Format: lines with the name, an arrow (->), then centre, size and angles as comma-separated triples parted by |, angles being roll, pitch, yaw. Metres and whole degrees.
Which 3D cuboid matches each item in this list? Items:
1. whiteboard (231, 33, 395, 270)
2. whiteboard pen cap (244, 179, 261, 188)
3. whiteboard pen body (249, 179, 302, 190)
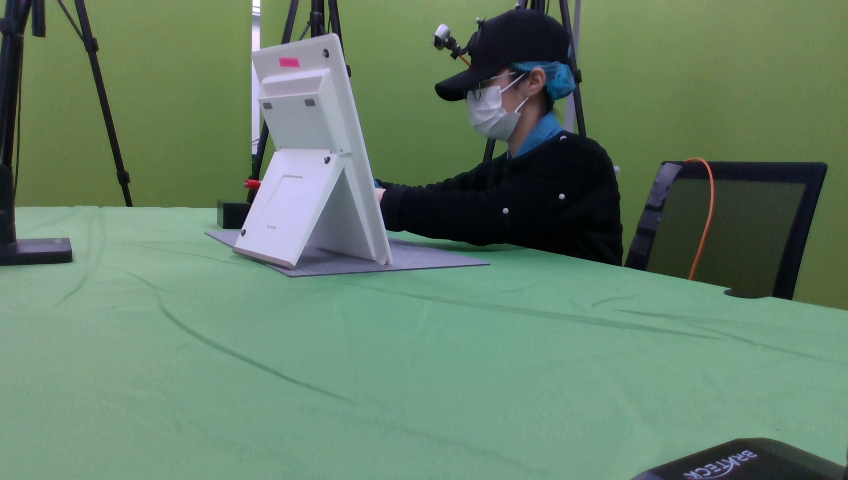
whiteboard -> -0.193, -0.094, 0.805 | 0.144, 0.305, 0.216 | -28, 25, -35
whiteboard pen cap -> -0.336, -0.110, 1.191 | 0.017, 0.017, 0.032 | 7, 4, 31
whiteboard pen body -> -0.304, -0.113, 1.240 | 0.017, 0.017, 0.141 | 7, 4, 32
